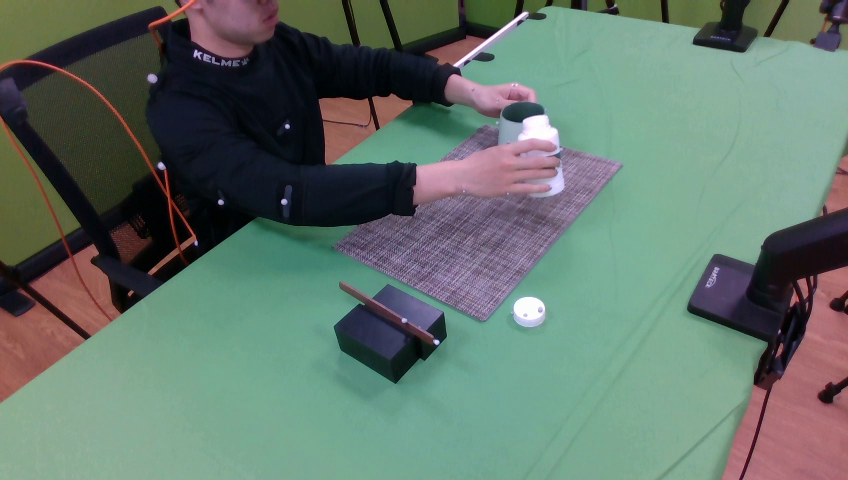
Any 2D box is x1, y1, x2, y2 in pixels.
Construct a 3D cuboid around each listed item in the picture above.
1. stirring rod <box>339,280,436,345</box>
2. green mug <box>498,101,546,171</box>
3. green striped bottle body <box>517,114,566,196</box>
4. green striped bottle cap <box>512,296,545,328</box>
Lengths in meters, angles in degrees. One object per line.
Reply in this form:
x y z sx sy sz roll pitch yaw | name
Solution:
-0.052 0.093 0.795 0.174 0.014 0.006 27 47 33 | stirring rod
0.182 -0.197 1.101 0.092 0.105 0.125 3 41 12 | green mug
0.183 -0.134 0.950 0.063 0.119 0.063 -12 24 6 | green striped bottle body
0.144 0.099 0.837 0.044 0.020 0.044 -2 44 2 | green striped bottle cap
